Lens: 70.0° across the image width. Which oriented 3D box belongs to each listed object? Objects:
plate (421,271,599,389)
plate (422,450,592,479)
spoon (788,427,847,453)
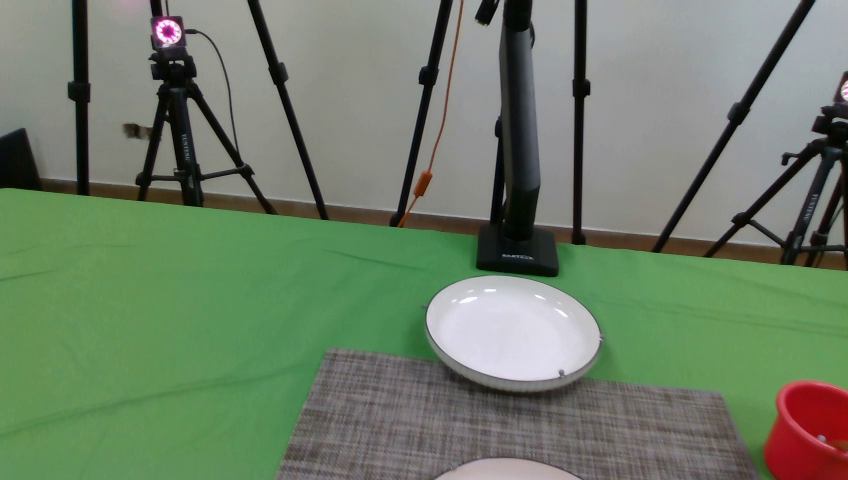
[{"bbox_3d":[0.099,0.108,0.721,0.208,0.039,0.206,3,29,-1],"label":"plate"},{"bbox_3d":[0.073,0.257,0.468,0.209,0.038,0.207,2,31,-1],"label":"plate"},{"bbox_3d":[0.363,0.179,0.533,0.041,0.021,0.195,18,-10,20],"label":"spoon"}]
